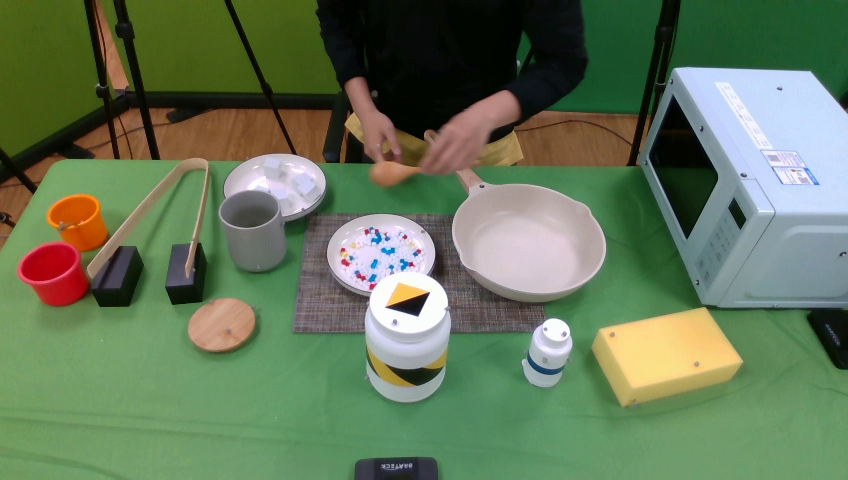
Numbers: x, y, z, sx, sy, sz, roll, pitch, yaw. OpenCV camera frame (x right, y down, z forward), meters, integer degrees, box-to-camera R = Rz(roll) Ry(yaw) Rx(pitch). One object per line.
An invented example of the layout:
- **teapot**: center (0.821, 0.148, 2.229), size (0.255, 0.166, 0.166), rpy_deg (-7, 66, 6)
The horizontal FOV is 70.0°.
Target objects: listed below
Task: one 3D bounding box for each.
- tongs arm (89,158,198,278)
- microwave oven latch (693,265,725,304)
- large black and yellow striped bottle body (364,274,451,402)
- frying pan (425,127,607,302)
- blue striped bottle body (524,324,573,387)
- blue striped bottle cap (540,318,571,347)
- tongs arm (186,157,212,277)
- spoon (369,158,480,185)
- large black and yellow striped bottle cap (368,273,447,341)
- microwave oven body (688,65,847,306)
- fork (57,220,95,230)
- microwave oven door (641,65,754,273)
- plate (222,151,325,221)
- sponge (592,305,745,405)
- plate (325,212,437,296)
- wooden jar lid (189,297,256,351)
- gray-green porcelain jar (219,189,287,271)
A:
- **tongs arm**: center (-0.529, -0.058, 1.164), size (0.028, 0.028, 0.385), rpy_deg (1, 36, 8)
- **microwave oven latch**: center (0.523, 0.081, 1.116), size (0.030, 0.029, 0.078), rpy_deg (2, 46, -1)
- **large black and yellow striped bottle body**: center (-0.026, 0.151, 0.937), size (0.131, 0.185, 0.130), rpy_deg (2, 47, -2)
- **frying pan**: center (0.143, -0.069, 1.208), size (0.307, 0.103, 0.485), rpy_deg (-23, 60, -24)
- **blue striped bottle body**: center (0.200, 0.178, 0.970), size (0.063, 0.121, 0.062), rpy_deg (2, 46, -2)
- **blue striped bottle cap**: center (0.203, 0.142, 0.933), size (0.044, 0.021, 0.044), rpy_deg (3, 49, -4)
- **tongs arm**: center (-0.445, -0.058, 1.168), size (0.051, 0.026, 0.382), rpy_deg (-5, 37, -6)
- **spoon**: center (0.004, -0.123, 1.014), size (0.194, 0.041, 0.021), rpy_deg (-10, 7, -19)
- **large black and yellow striped bottle cap**: center (-0.023, 0.094, 0.875), size (0.115, 0.019, 0.114), rpy_deg (2, 45, -2)
- **microwave oven body**: center (0.669, -0.111, 1.176), size (0.326, 0.261, 0.439), rpy_deg (0, 46, -3)
- **fork**: center (-0.624, -0.027, 1.086), size (0.028, 0.207, 0.018), rpy_deg (-3, 92, -17)
- **microwave oven door**: center (0.524, -0.148, 1.193), size (0.039, 0.245, 0.353), rpy_deg (0, 47, -3)
- **plate**: center (-0.310, -0.106, 1.263), size (0.208, 0.039, 0.206), rpy_deg (2, 47, -2)
- **sponge**: center (0.405, 0.190, 1.014), size (0.207, 0.061, 0.117), rpy_deg (-10, 48, -13)
- **plate**: center (-0.080, 0.030, 1.143), size (0.209, 0.038, 0.208), rpy_deg (2, 46, -2)
- **wooden jar lid**: center (-0.342, 0.145, 1.033), size (0.108, 0.021, 0.107), rpy_deg (2, 45, -2)
- **gray-green porcelain jar**: center (-0.310, -0.014, 1.113), size (0.106, 0.127, 0.105), rpy_deg (2, 46, -2)
